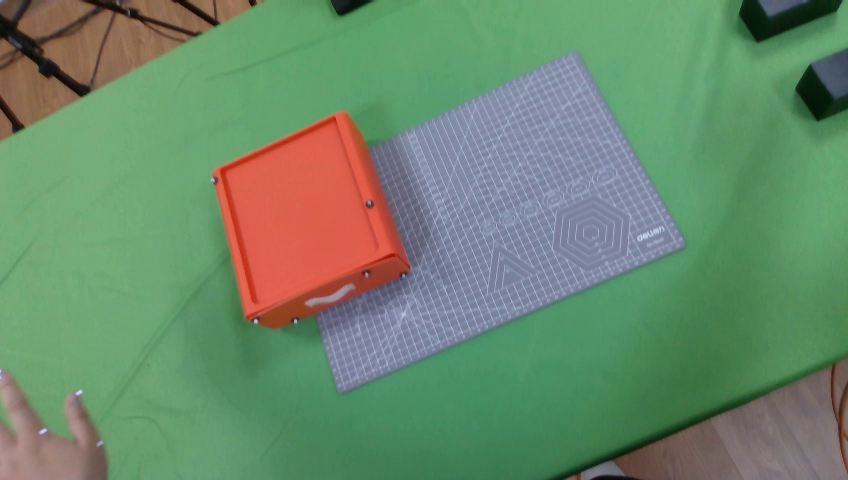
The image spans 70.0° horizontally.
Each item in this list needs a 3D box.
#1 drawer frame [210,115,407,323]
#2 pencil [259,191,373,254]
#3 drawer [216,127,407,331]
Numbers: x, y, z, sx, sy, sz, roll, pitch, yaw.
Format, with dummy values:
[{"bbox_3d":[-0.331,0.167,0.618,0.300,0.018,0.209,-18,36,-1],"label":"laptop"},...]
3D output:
[{"bbox_3d":[-0.152,-0.020,0.779,0.201,0.083,0.211,-24,67,7],"label":"drawer frame"},{"bbox_3d":[-0.145,-0.024,0.802,0.193,0.012,0.012,27,81,21],"label":"pencil"},{"bbox_3d":[-0.148,-0.016,0.777,0.194,0.074,0.210,-24,67,7],"label":"drawer"}]
